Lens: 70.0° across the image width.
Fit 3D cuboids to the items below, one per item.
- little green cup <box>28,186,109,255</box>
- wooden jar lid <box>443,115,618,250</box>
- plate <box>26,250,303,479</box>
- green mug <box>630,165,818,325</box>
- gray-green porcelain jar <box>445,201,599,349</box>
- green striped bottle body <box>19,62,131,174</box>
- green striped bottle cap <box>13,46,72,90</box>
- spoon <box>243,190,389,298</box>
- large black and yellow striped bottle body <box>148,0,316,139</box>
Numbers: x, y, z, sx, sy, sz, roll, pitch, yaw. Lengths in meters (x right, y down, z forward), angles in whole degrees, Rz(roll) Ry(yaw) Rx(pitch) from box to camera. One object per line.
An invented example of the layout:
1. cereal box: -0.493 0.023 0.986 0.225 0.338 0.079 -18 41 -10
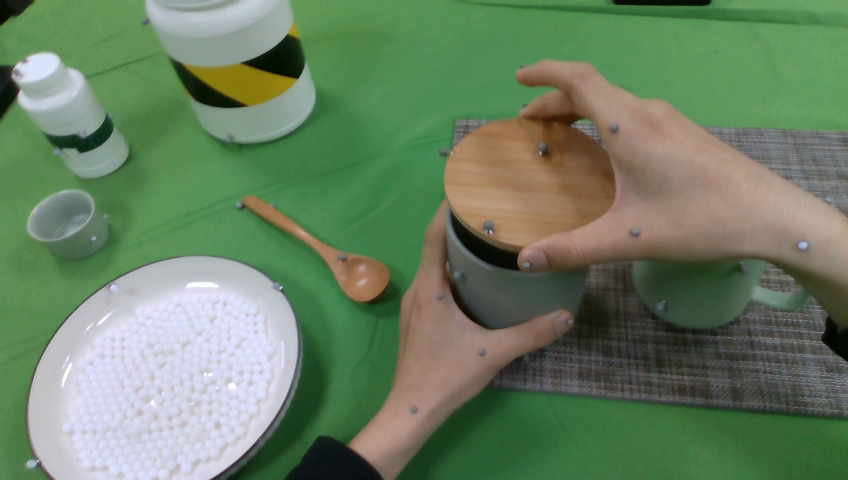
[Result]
1. little green cup: -0.332 -0.017 0.571 0.061 0.039 0.061 -1 51 1
2. wooden jar lid: 0.066 -0.036 0.383 0.108 0.021 0.107 -2 55 3
3. plate: -0.196 0.102 0.478 0.209 0.038 0.207 -2 54 3
4. green mug: 0.229 0.013 0.463 0.124 0.106 0.092 24 59 19
5. gray-green porcelain jar: 0.071 0.015 0.460 0.106 0.127 0.105 -2 54 3
6. green striped bottle body: -0.350 -0.127 0.603 0.063 0.120 0.062 -2 54 4
7. green striped bottle cap: -0.353 -0.159 0.561 0.044 0.020 0.044 0 56 1
8. spoon: -0.105 -0.004 0.556 0.192 0.022 0.041 33 79 25
9. large black and yellow striped bottle body: -0.191 -0.208 0.608 0.131 0.186 0.129 -2 54 3
